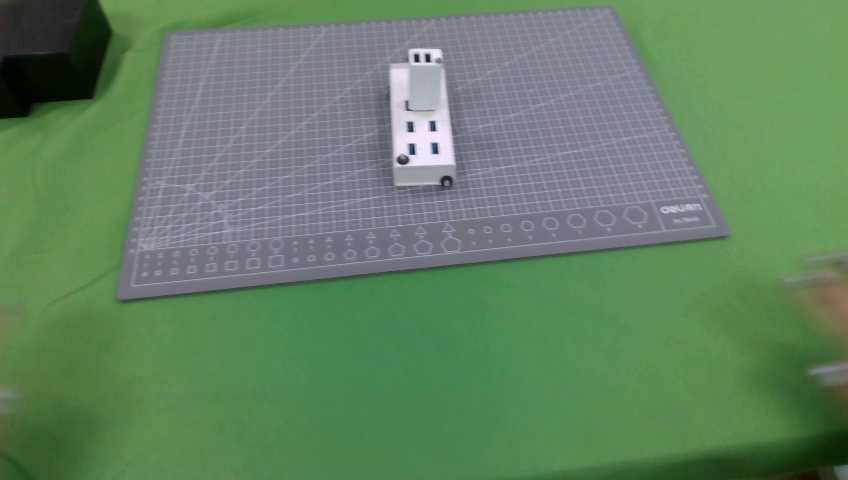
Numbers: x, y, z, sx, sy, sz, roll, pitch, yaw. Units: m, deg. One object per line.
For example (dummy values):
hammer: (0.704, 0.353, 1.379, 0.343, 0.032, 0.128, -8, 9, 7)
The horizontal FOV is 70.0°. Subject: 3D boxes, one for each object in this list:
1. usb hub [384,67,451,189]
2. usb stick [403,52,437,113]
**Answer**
usb hub: (-0.007, -0.098, 0.509, 0.049, 0.025, 0.124, -3, 54, -3)
usb stick: (-0.004, -0.121, 0.490, 0.027, 0.059, 0.021, -6, 54, -3)
